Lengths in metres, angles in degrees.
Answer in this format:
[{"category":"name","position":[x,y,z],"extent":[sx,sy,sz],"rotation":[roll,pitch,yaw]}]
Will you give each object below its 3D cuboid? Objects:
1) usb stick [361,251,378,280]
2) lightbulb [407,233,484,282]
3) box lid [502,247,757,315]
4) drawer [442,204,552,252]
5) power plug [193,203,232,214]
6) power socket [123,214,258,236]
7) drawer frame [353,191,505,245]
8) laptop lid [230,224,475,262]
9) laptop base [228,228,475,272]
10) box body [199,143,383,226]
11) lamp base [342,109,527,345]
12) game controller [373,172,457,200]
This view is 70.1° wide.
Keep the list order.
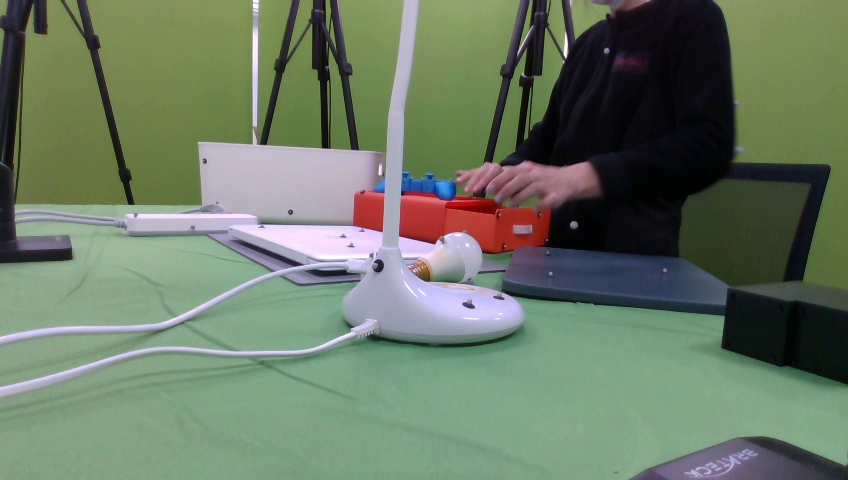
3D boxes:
[{"category":"usb stick","position":[-0.051,0.033,0.656],"extent":[0.027,0.021,0.059],"rotation":[4,-27,-21]},{"category":"lightbulb","position":[0.020,0.028,0.694],"extent":[0.108,0.059,0.059],"rotation":[-20,18,-31]},{"category":"box lid","position":[0.244,0.044,0.793],"extent":[0.263,0.015,0.372],"rotation":[4,7,11]},{"category":"drawer","position":[0.092,-0.033,1.084],"extent":[0.210,0.073,0.195],"rotation":[8,10,37]},{"category":"power plug","position":[-0.393,-0.042,1.139],"extent":[0.072,0.052,0.035],"rotation":[-14,1,31]},{"category":"power socket","position":[-0.398,-0.028,1.049],"extent":[0.228,0.032,0.072],"rotation":[-3,8,-34]},{"category":"drawer frame","position":[0.011,-0.048,1.143],"extent":[0.212,0.082,0.203],"rotation":[8,9,35]},{"category":"laptop lid","position":[-0.119,0.000,0.889],"extent":[0.243,0.013,0.355],"rotation":[1,7,-33]},{"category":"laptop base","position":[-0.122,0.011,0.889],"extent":[0.237,0.023,0.352],"rotation":[2,6,-35]},{"category":"box body","position":[-0.276,-0.124,1.335],"extent":[0.364,0.160,0.254],"rotation":[3,7,1]},{"category":"lamp base","position":[0.006,-0.015,0.505],"extent":[0.160,0.180,0.180],"rotation":[6,11,29]},{"category":"game controller","position":[-0.011,-0.101,1.150],"extent":[0.155,0.051,0.097],"rotation":[6,4,12]}]
